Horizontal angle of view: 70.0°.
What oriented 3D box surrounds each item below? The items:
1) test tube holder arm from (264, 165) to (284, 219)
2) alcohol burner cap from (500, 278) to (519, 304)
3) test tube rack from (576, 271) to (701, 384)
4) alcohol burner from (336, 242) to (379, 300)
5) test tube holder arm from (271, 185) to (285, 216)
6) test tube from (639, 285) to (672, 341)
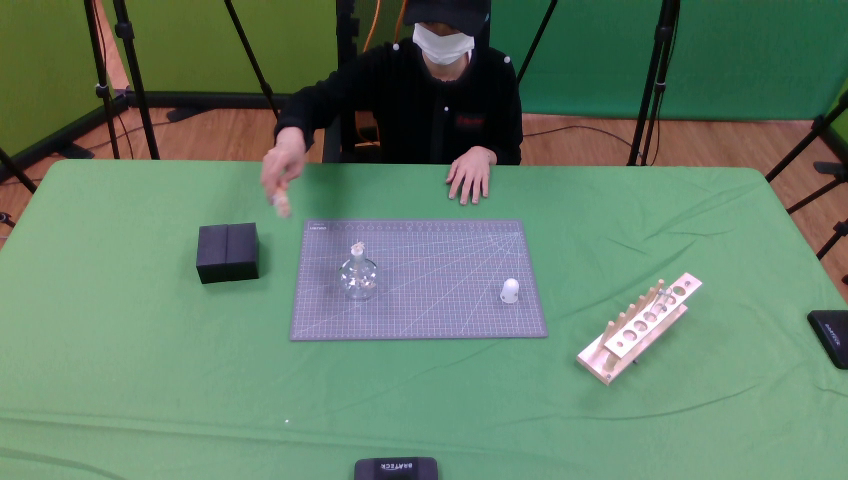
[{"bbox_3d":[-0.260,-0.086,1.046,0.015,0.013,0.177,13,26,-28],"label":"test tube holder arm"},{"bbox_3d":[0.157,0.090,1.104,0.034,0.048,0.033,2,46,-2],"label":"alcohol burner cap"},{"bbox_3d":[0.373,0.138,1.047,0.242,0.085,0.066,-31,56,-29],"label":"test tube rack"},{"bbox_3d":[-0.118,0.050,1.072,0.078,0.120,0.077,2,44,-1],"label":"alcohol burner"},{"bbox_3d":[-0.244,-0.067,1.008,0.015,0.010,0.087,13,27,-28],"label":"test tube holder arm"},{"bbox_3d":[0.374,0.123,0.994,0.017,0.151,0.017,1,50,-1],"label":"test tube"}]
